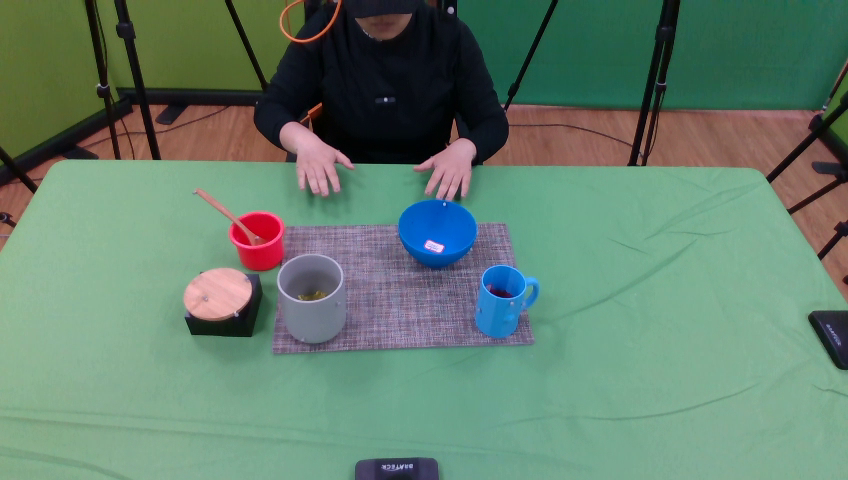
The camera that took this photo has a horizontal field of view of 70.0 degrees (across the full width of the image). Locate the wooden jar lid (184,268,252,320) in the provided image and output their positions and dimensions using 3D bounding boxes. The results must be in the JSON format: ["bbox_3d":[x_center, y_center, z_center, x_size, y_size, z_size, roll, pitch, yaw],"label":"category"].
[{"bbox_3d":[-0.343,0.092,1.015,0.108,0.021,0.107,3,46,-3],"label":"wooden jar lid"}]

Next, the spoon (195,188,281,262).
[{"bbox_3d":[-0.342,-0.028,1.117,0.194,0.021,0.041,47,49,-20],"label":"spoon"}]

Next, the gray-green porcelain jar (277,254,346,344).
[{"bbox_3d":[-0.184,0.102,1.007,0.106,0.127,0.105,2,46,-2],"label":"gray-green porcelain jar"}]

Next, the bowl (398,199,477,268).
[{"bbox_3d":[0.024,0.000,1.156,0.151,0.077,0.150,2,46,-2],"label":"bowl"}]

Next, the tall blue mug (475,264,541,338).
[{"bbox_3d":[0.141,0.098,1.047,0.077,0.108,0.107,33,53,27],"label":"tall blue mug"}]
